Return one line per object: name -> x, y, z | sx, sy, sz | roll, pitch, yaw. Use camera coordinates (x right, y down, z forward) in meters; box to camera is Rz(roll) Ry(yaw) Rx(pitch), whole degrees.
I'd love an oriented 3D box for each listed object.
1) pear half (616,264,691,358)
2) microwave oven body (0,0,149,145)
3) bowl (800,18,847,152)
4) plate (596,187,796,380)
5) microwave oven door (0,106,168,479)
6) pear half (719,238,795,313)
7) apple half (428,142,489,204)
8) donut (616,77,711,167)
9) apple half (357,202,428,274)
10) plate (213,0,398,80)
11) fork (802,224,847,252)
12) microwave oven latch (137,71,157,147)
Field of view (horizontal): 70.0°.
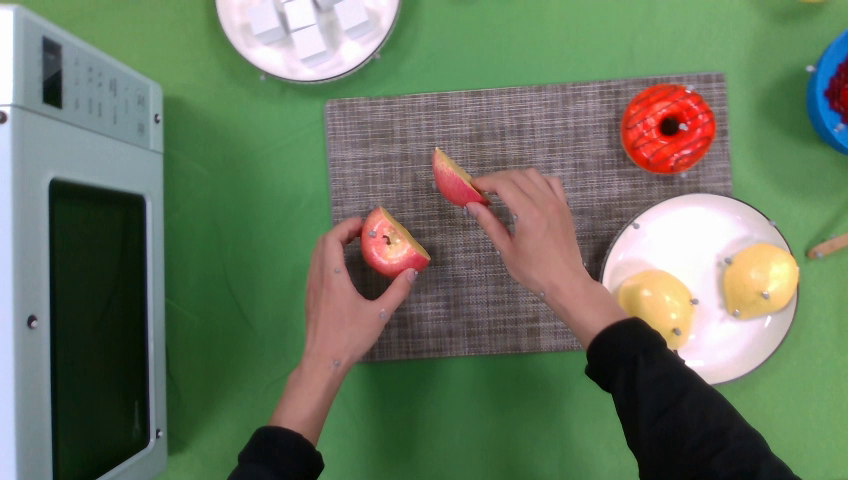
pear half -> 0.256, 0.082, 0.650 | 0.076, 0.056, 0.110 | -31, 94, 7
microwave oven body -> -0.461, 0.036, 0.580 | 0.326, 0.260, 0.441 | -1, 91, 2
bowl -> 0.461, -0.157, 0.637 | 0.151, 0.077, 0.151 | 0, 91, 2
plate -> 0.292, 0.046, 0.662 | 0.209, 0.038, 0.209 | 0, 91, 2
microwave oven door -> -0.315, 0.076, 0.569 | 0.039, 0.244, 0.355 | -1, 90, 2
pear half -> 0.351, 0.040, 0.645 | 0.070, 0.031, 0.088 | 34, 103, 26
apple half -> 0.026, -0.062, 0.617 | 0.081, 0.081, 0.033 | 44, 102, 2
donut -> 0.258, -0.127, 0.658 | 0.099, 0.048, 0.099 | 0, 91, 5
apple half -> -0.040, 0.006, 0.642 | 0.053, 0.074, 0.081 | -45, 90, 6
plate -> -0.129, -0.280, 0.678 | 0.207, 0.039, 0.207 | 0, 90, 2
fork -> 0.502, -0.040, 0.632 | 0.207, 0.018, 0.028 | -33, 97, 22
microwave oven latch -> -0.312, -0.144, 0.668 | 0.030, 0.029, 0.079 | 1, 91, 2
